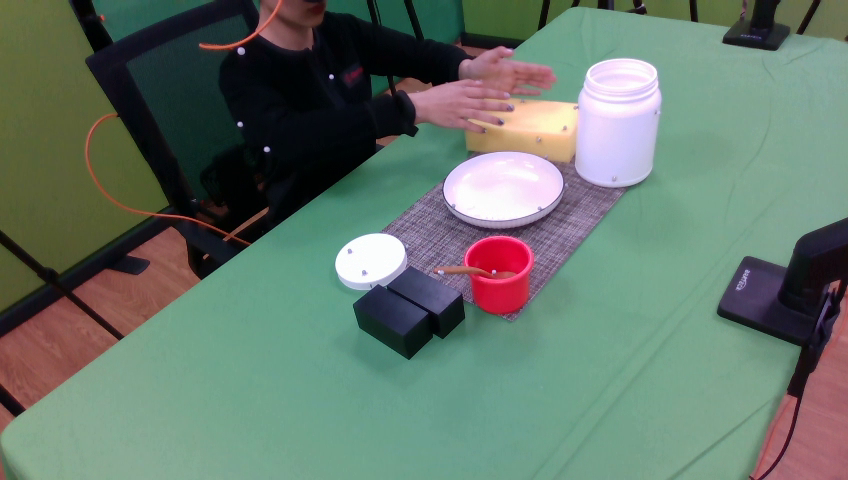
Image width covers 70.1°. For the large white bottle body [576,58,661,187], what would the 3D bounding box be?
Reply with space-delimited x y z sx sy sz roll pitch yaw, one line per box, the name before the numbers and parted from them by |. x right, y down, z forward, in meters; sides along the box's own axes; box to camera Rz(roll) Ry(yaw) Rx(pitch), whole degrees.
large white bottle body | 0.326 -0.197 1.021 0.130 0.185 0.130 -5 40 5

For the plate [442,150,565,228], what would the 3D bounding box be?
plate | 0.136 -0.085 1.039 0.209 0.038 0.208 -5 40 5

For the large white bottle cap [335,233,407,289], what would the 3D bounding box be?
large white bottle cap | -0.085 0.032 0.961 0.115 0.018 0.114 -6 42 6

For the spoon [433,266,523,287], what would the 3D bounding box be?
spoon | 0.074 0.045 0.815 0.041 0.021 0.195 32 12 38

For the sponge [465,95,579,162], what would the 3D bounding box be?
sponge | 0.197 -0.218 1.168 0.205 0.061 0.118 11 44 22
